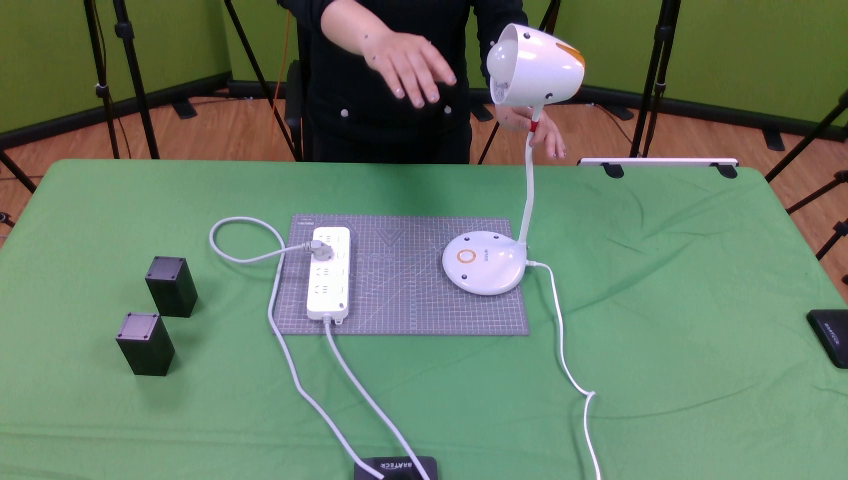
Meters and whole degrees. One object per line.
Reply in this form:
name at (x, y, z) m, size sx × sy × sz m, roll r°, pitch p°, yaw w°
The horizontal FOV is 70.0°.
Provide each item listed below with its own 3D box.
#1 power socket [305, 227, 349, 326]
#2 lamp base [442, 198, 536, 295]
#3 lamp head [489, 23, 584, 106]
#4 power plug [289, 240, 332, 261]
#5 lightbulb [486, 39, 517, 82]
power socket at (-0.177, 0.059, 1.115) m, size 0.072 × 0.033 × 0.225 m, roll -1°, pitch 46°, yaw -4°
lamp base at (0.130, -0.012, 1.105) m, size 0.179 × 0.181 × 0.159 m, roll -1°, pitch 46°, yaw -9°
lamp head at (0.164, -0.241, 0.872) m, size 0.123 × 0.113 × 0.111 m, roll 9°, pitch 43°, yaw -17°
power plug at (-0.208, 0.022, 1.123) m, size 0.072 × 0.053 × 0.035 m, roll 6°, pitch 44°, yaw 4°
lightbulb at (0.142, -0.252, 0.865) m, size 0.108 × 0.060 × 0.059 m, roll 8°, pitch 45°, yaw -7°
